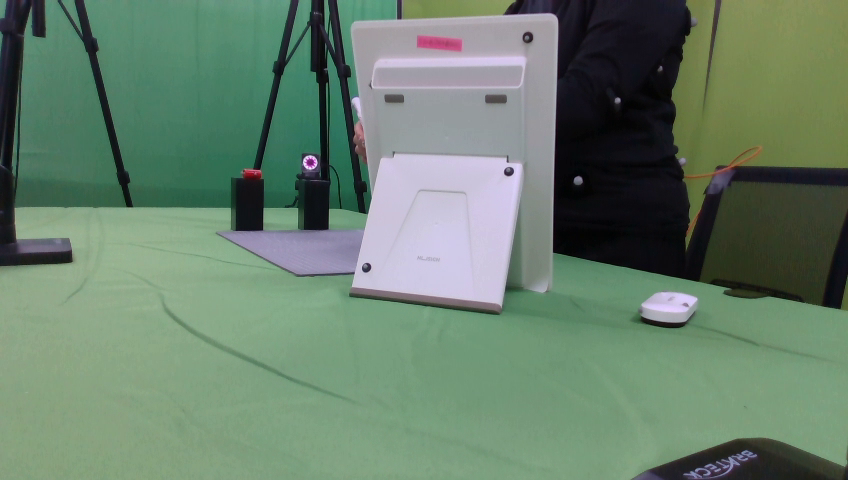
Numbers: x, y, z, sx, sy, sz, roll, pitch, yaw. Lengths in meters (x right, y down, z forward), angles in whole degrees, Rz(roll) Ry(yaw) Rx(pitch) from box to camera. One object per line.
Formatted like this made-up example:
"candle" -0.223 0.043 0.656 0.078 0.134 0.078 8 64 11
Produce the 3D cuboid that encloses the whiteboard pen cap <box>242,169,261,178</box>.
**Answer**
"whiteboard pen cap" -0.327 -0.126 1.144 0.032 0.017 0.017 -1 8 -36

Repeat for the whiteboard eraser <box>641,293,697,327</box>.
"whiteboard eraser" 0.240 0.066 0.590 0.041 0.019 0.102 6 7 31

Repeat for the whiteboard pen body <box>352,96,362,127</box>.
"whiteboard pen body" -0.098 -0.191 1.030 0.017 0.140 0.017 -17 -27 -9

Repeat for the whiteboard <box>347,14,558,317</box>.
"whiteboard" 0.012 -0.056 0.609 0.216 0.305 0.144 5 27 20
